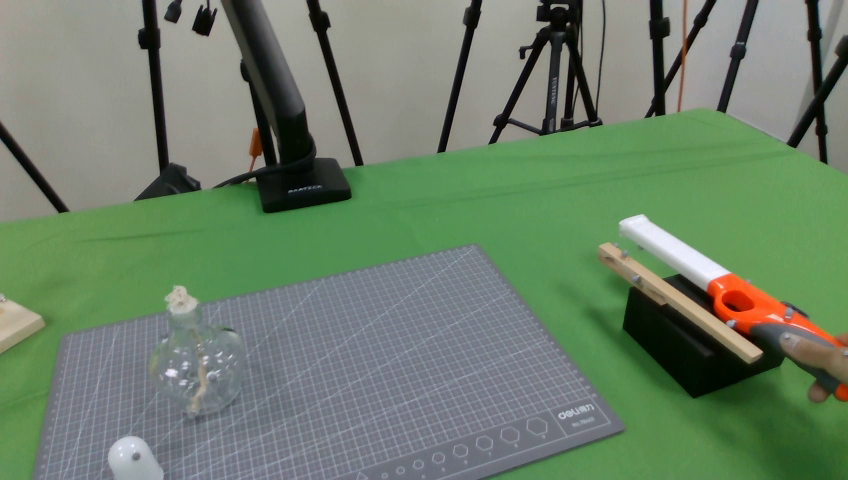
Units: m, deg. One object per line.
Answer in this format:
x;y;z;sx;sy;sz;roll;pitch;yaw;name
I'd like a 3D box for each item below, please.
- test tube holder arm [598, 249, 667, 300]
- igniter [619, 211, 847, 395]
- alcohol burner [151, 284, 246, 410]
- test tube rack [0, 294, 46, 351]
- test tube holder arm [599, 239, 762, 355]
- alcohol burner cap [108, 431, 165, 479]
0.200;0.029;0.579;0.015;0.010;0.087;-22;35;-17;test tube holder arm
0.273;0.042;0.547;0.057;0.025;0.273;-18;34;-15;igniter
-0.190;0.083;0.502;0.078;0.120;0.077;0;35;0;alcohol burner
-0.473;0.098;0.520;0.066;0.086;0.242;17;38;25;test tube rack
0.220;0.045;0.541;0.015;0.013;0.176;-22;36;-17;test tube holder arm
-0.214;0.162;0.449;0.034;0.048;0.033;0;34;0;alcohol burner cap
